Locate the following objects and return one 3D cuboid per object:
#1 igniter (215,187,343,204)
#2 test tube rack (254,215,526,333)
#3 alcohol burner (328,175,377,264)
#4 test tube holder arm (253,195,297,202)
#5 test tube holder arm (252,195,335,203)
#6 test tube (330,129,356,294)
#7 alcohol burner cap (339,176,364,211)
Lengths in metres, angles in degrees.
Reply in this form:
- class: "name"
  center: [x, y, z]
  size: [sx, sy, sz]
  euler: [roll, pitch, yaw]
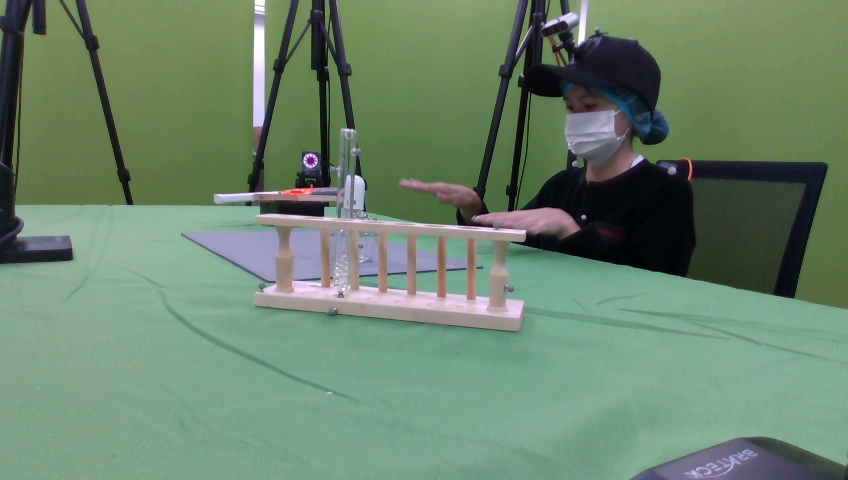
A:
- class: "igniter"
  center: [-0.290, -0.093, 1.256]
  size: [0.278, 0.025, 0.057]
  euler: [-6, 11, -34]
- class: "test tube rack"
  center: [-0.030, 0.025, 0.557]
  size: [0.242, 0.085, 0.067]
  euler: [4, 7, 12]
- class: "alcohol burner"
  center: [-0.098, -0.028, 0.819]
  size: [0.078, 0.119, 0.078]
  euler: [1, 8, 0]
- class: "test tube holder arm"
  center: [-0.294, -0.082, 1.194]
  size: [0.088, 0.015, 0.010]
  euler: [-4, 7, -38]
- class: "test tube holder arm"
  center: [-0.262, -0.084, 1.227]
  size: [0.179, 0.015, 0.013]
  euler: [-4, 7, -39]
- class: "test tube"
  center: [-0.074, -0.025, 0.548]
  size: [0.017, 0.150, 0.017]
  euler: [4, 6, 0]
- class: "alcohol burner cap"
  center: [-0.096, -0.063, 0.814]
  size: [0.034, 0.048, 0.034]
  euler: [7, 6, 0]
